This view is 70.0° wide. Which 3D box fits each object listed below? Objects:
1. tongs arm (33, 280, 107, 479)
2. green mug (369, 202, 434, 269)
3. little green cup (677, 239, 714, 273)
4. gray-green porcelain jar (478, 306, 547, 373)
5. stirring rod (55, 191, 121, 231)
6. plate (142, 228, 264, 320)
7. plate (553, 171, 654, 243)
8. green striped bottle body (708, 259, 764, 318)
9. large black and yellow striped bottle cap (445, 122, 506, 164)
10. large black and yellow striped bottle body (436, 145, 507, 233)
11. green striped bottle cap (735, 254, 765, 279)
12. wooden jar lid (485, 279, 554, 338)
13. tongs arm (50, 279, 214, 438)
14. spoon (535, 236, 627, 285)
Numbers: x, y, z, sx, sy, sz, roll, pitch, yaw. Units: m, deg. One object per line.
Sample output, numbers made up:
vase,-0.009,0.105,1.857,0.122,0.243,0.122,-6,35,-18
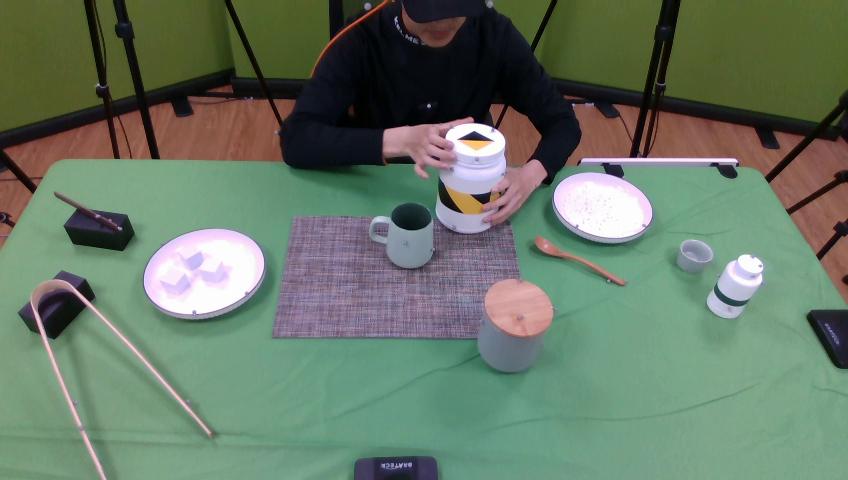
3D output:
tongs arm,-0.517,0.214,0.909,0.051,0.026,0.383,-28,63,-27
green mug,-0.043,-0.010,1.140,0.125,0.105,0.092,8,47,4
little green cup,0.530,0.033,1.189,0.061,0.039,0.061,2,47,-2
gray-green porcelain jar,0.144,0.148,0.989,0.106,0.127,0.105,2,50,-2
stirring rod,-0.632,-0.055,1.138,0.175,0.014,0.006,24,50,19
plate,-0.394,0.064,1.095,0.208,0.039,0.206,2,46,-2
plate,0.373,-0.066,1.274,0.209,0.038,0.208,2,46,-2
green striped bottle body,0.563,0.081,1.089,0.063,0.120,0.063,2,46,-2
large black and yellow striped bottle cap,0.098,-0.185,1.143,0.115,0.019,0.114,2,44,-1
large black and yellow striped bottle body,0.093,-0.120,1.202,0.131,0.185,0.130,2,42,-2
green striped bottle cap,0.566,0.046,1.051,0.044,0.020,0.044,0,45,0
wooden jar lid,0.147,0.108,0.940,0.108,0.021,0.107,4,47,-4
tongs arm,-0.459,0.178,0.949,0.386,0.028,0.028,37,60,17
spoon,0.304,0.040,1.178,0.193,0.022,0.041,25,34,19
